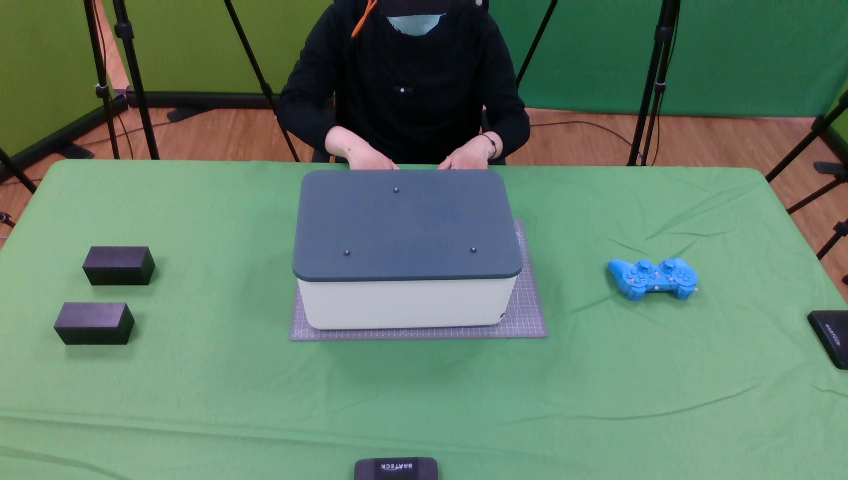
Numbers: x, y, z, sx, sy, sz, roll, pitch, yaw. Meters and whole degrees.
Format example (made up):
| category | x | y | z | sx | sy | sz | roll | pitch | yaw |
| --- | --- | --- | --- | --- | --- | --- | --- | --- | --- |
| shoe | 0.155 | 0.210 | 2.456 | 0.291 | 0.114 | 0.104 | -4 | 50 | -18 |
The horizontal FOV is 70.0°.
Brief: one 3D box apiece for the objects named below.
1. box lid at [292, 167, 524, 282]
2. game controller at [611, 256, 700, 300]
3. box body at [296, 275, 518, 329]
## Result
| category | x | y | z | sx | sy | sz | roll | pitch | yaw |
| --- | --- | --- | --- | --- | --- | --- | --- | --- | --- |
| box lid | -0.027 | -0.035 | 1.021 | 0.372 | 0.015 | 0.261 | -1 | 47 | -5 |
| game controller | 0.441 | 0.062 | 1.144 | 0.155 | 0.052 | 0.096 | -1 | 51 | -4 |
| box body | -0.032 | 0.016 | 1.075 | 0.364 | 0.161 | 0.252 | -1 | 47 | -5 |
